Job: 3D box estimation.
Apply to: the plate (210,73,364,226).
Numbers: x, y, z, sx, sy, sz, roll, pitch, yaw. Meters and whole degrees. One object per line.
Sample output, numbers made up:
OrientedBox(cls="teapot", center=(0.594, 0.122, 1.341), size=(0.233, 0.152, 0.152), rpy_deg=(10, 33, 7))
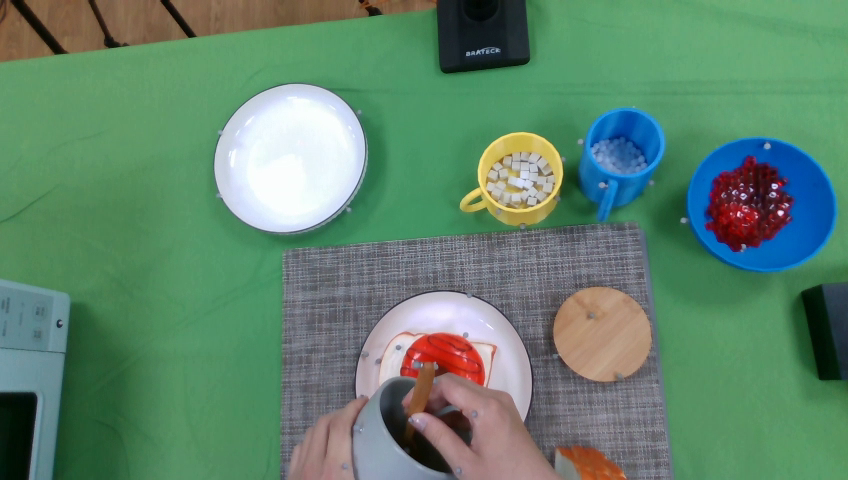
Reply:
OrientedBox(cls="plate", center=(-0.177, -0.117, 0.799), size=(0.207, 0.039, 0.206), rpy_deg=(-2, 78, 8))

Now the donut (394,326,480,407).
OrientedBox(cls="donut", center=(0.015, 0.145, 0.682), size=(0.099, 0.048, 0.098), rpy_deg=(-1, 78, 5))

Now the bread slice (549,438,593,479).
OrientedBox(cls="bread slice", center=(0.147, 0.262, 0.619), size=(0.018, 0.135, 0.106), rpy_deg=(4, 76, 1))

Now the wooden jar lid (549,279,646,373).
OrientedBox(cls="wooden jar lid", center=(0.200, 0.100, 0.702), size=(0.108, 0.021, 0.108), rpy_deg=(-2, 79, 8))

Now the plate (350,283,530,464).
OrientedBox(cls="plate", center=(0.019, 0.155, 0.707), size=(0.209, 0.038, 0.208), rpy_deg=(-2, 77, 8))

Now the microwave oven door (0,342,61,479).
OrientedBox(cls="microwave oven door", center=(-0.499, 0.283, 0.636), size=(0.039, 0.245, 0.354), rpy_deg=(-4, 77, 8))

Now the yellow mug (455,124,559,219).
OrientedBox(cls="yellow mug", center=(0.098, -0.074, 0.735), size=(0.131, 0.064, 0.099), rpy_deg=(-25, 75, 4))

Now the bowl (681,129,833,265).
OrientedBox(cls="bowl", center=(0.360, -0.040, 0.681), size=(0.151, 0.077, 0.150), rpy_deg=(-2, 78, 9))

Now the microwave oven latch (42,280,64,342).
OrientedBox(cls="microwave oven latch", center=(-0.487, 0.092, 0.781), size=(0.030, 0.029, 0.079), rpy_deg=(0, 78, 8))

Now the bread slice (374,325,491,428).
OrientedBox(cls="bread slice", center=(0.006, 0.155, 0.712), size=(0.131, 0.019, 0.104), rpy_deg=(10, 78, 8))

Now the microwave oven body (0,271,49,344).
OrientedBox(cls="microwave oven body", center=(-0.643, 0.252, 0.670), size=(0.325, 0.261, 0.439), rpy_deg=(-3, 78, 8))

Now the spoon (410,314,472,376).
OrientedBox(cls="spoon", center=(0.017, 0.099, 0.556), size=(0.021, 0.194, 0.041), rpy_deg=(2, 92, 19))

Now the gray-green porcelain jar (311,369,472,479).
OrientedBox(cls="gray-green porcelain jar", center=(-0.035, 0.199, 0.552), size=(0.105, 0.106, 0.127), rpy_deg=(44, 114, 15))

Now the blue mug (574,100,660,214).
OrientedBox(cls="blue mug", center=(0.215, -0.086, 0.699), size=(0.082, 0.106, 0.116), rpy_deg=(16, 81, 12))
